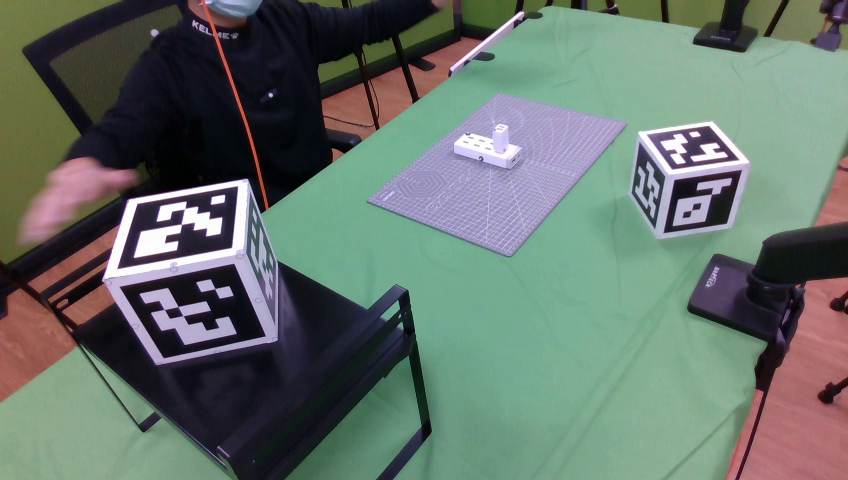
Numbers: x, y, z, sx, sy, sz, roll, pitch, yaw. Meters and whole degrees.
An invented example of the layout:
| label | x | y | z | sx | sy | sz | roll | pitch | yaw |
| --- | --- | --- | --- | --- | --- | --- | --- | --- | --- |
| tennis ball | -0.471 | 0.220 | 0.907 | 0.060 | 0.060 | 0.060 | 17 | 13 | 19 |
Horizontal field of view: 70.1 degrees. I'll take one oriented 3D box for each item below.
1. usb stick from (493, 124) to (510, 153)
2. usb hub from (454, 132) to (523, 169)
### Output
| label | x | y | z | sx | sy | sz | roll | pitch | yaw |
| --- | --- | --- | --- | --- | --- | --- | --- | --- | --- |
| usb stick | 0.142 | -0.180 | 1.107 | 0.021 | 0.059 | 0.027 | 18 | 46 | 29 |
| usb hub | 0.121 | -0.170 | 1.144 | 0.124 | 0.025 | 0.049 | 22 | 48 | 29 |
